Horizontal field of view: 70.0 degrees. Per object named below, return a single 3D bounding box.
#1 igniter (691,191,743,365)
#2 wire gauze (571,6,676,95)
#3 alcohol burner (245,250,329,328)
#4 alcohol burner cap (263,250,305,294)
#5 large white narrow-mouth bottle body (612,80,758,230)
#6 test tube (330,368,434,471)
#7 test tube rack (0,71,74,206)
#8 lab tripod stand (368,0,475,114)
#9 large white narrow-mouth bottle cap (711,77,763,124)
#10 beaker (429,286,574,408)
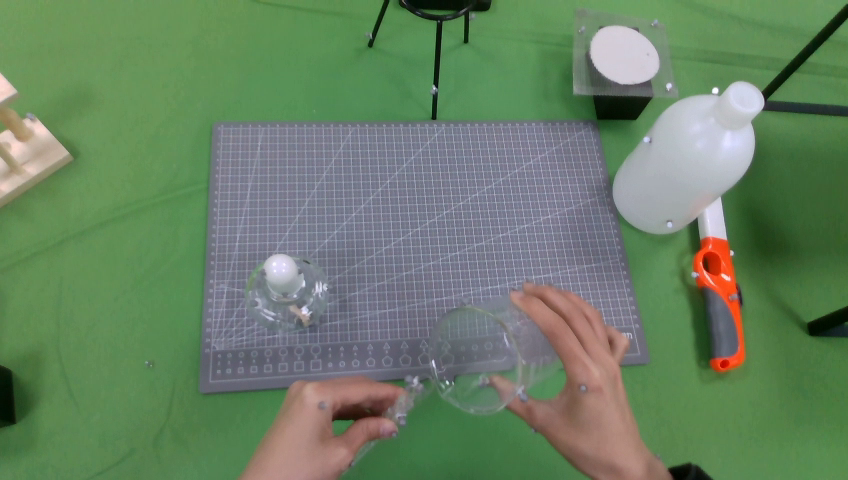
[{"bbox_3d":[0.323,0.005,0.680,0.057,0.025,0.274,11,66,-16],"label":"igniter"},{"bbox_3d":[0.234,-0.224,0.720,0.121,0.011,0.124,5,67,-5],"label":"wire gauze"},{"bbox_3d":[-0.128,0.039,0.561,0.078,0.120,0.077,3,66,-7],"label":"alcohol burner"},{"bbox_3d":[-0.123,0.027,0.527,0.034,0.048,0.033,1,72,-3],"label":"alcohol burner cap"},{"bbox_3d":[0.272,-0.091,0.622,0.102,0.195,0.101,2,67,-5],"label":"large white narrow-mouth bottle body"},{"bbox_3d":[-0.037,0.146,0.477,0.017,0.150,0.017,25,37,-20],"label":"test tube"},{"bbox_3d":[-0.475,-0.051,0.573,0.066,0.085,0.242,44,69,11],"label":"test tube rack"},{"bbox_3d":[0.007,-0.240,0.684,0.149,0.132,0.147,3,68,-7],"label":"lab tripod stand"},{"bbox_3d":[0.281,-0.126,0.545,0.038,0.024,0.037,2,67,-5],"label":"large white narrow-mouth bottle cap"},{"bbox_3d":[0.060,0.076,0.452,0.101,0.084,0.073,-8,53,-53],"label":"beaker"}]
